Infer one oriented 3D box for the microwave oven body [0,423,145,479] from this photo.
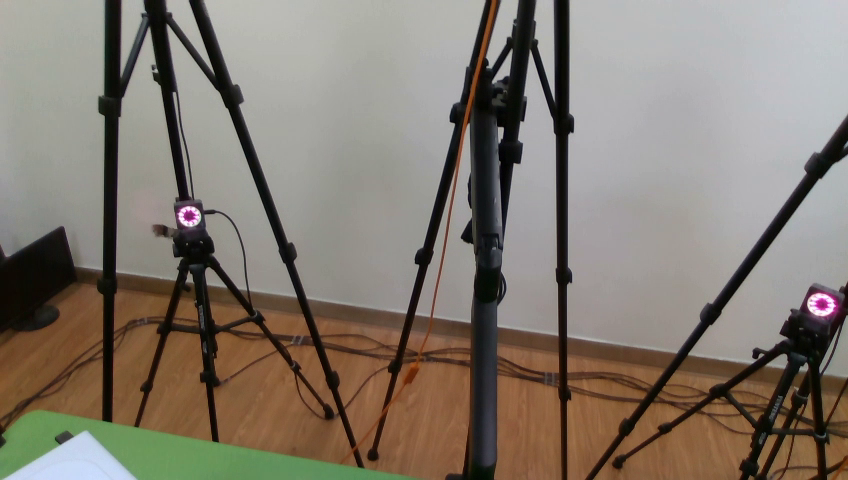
[{"bbox_3d":[-0.482,0.478,0.658,0.323,0.262,0.442,24,37,29],"label":"microwave oven body"}]
